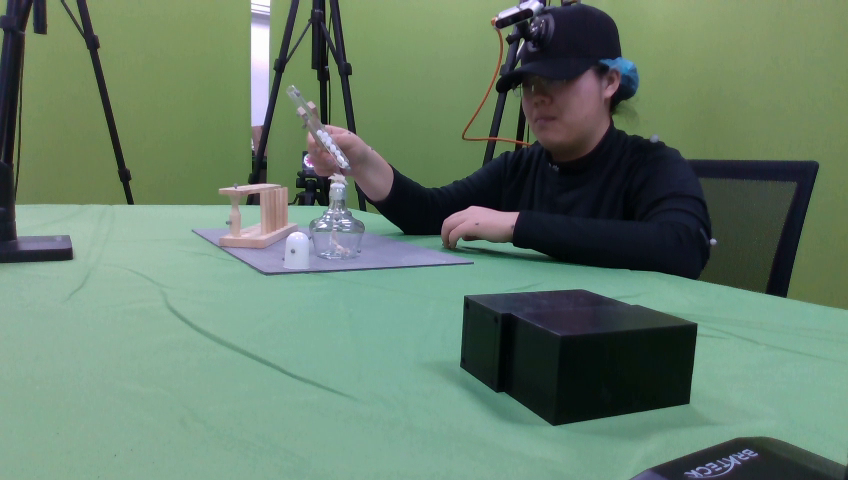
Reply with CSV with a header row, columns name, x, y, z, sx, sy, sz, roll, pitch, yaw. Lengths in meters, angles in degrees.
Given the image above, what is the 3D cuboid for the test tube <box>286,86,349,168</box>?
name,x,y,z,sx,sy,sz,roll,pitch,yaw
test tube,-0.149,-0.157,0.842,0.017,0.150,0.017,-33,-16,-11

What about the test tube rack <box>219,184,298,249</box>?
name,x,y,z,sx,sy,sz,roll,pitch,yaw
test tube rack,-0.266,-0.046,1.001,0.067,0.085,0.242,3,7,0

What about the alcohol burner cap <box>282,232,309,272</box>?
name,x,y,z,sx,sy,sz,roll,pitch,yaw
alcohol burner cap,-0.157,0.014,0.740,0.034,0.048,0.034,2,6,0

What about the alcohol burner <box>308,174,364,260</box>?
name,x,y,z,sx,sy,sz,roll,pitch,yaw
alcohol burner,-0.121,-0.033,0.841,0.078,0.119,0.078,3,5,0

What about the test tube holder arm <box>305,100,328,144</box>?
name,x,y,z,sx,sy,sz,roll,pitch,yaw
test tube holder arm,-0.154,-0.166,0.869,0.010,0.015,0.088,-37,-24,-15

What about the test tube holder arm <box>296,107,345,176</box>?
name,x,y,z,sx,sy,sz,roll,pitch,yaw
test tube holder arm,-0.152,-0.144,0.908,0.015,0.013,0.179,47,-8,24
